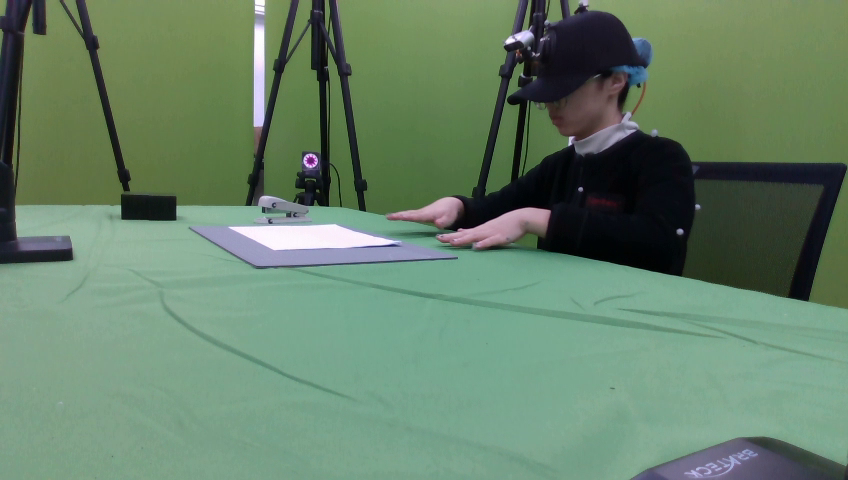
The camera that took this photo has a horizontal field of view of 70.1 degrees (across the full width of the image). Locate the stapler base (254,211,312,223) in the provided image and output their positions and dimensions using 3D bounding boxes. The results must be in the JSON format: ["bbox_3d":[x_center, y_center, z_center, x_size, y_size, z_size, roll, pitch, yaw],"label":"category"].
[{"bbox_3d":[-0.302,-0.052,1.301,0.041,0.024,0.131,11,10,38],"label":"stapler base"}]

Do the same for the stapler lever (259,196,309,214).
[{"bbox_3d":[-0.301,-0.076,1.300,0.026,0.040,0.119,11,11,38],"label":"stapler lever"}]
